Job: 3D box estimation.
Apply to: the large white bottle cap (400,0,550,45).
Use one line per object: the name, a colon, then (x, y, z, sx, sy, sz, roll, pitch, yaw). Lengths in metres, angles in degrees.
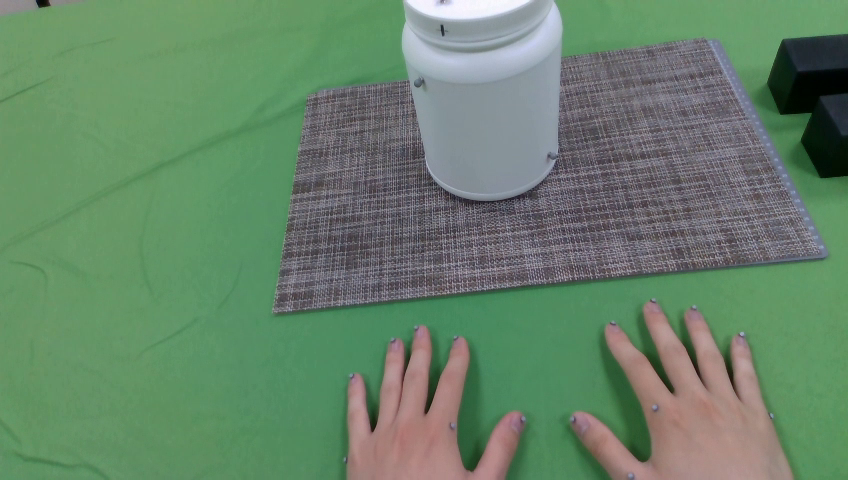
large white bottle cap: (0.039, -0.188, 0.462, 0.115, 0.018, 0.113, -5, 51, 6)

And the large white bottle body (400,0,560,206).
large white bottle body: (0.051, -0.134, 0.526, 0.130, 0.186, 0.129, -5, 51, 7)
